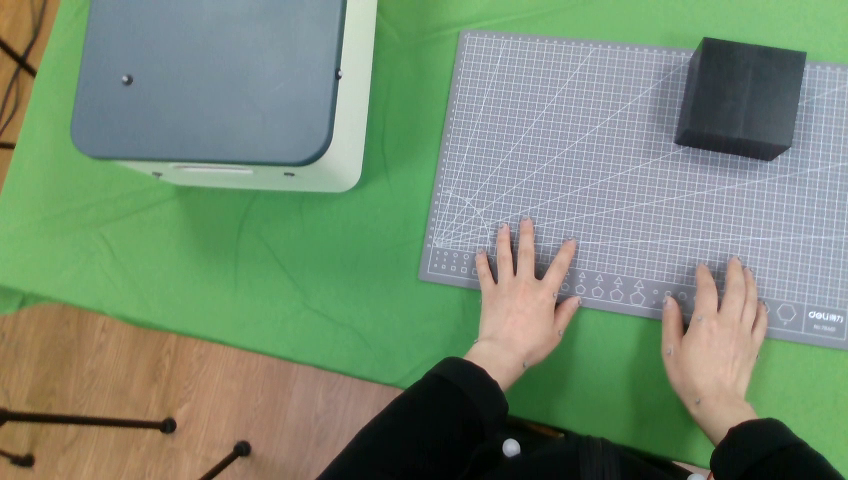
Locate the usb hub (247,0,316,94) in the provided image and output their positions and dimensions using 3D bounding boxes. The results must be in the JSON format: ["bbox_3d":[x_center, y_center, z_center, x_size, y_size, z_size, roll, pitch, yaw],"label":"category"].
[{"bbox_3d":[-0.168,-0.235,0.717,0.049,0.025,0.124,9,77,12],"label":"usb hub"}]

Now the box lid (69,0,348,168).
[{"bbox_3d":[-0.201,-0.252,0.591,0.263,0.015,0.370,4,82,9],"label":"box lid"}]

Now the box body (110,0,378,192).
[{"bbox_3d":[-0.190,-0.242,0.664,0.254,0.161,0.363,4,82,8],"label":"box body"}]
